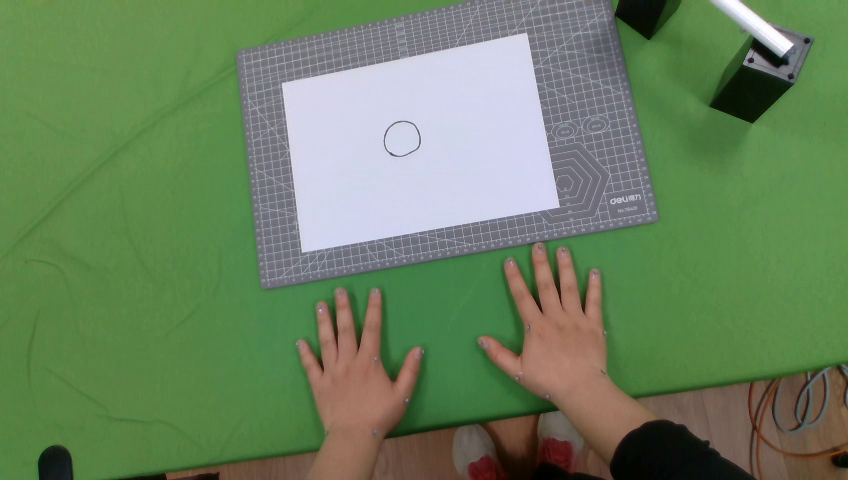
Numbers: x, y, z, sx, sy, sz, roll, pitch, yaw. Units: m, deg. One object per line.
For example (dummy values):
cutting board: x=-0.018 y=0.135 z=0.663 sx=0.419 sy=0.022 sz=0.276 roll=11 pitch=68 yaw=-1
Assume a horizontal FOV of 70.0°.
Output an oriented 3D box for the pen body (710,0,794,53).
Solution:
pen body: x=0.285 y=-0.225 z=0.571 sx=0.017 sy=0.017 sz=0.143 roll=-45 pitch=78 yaw=-1
